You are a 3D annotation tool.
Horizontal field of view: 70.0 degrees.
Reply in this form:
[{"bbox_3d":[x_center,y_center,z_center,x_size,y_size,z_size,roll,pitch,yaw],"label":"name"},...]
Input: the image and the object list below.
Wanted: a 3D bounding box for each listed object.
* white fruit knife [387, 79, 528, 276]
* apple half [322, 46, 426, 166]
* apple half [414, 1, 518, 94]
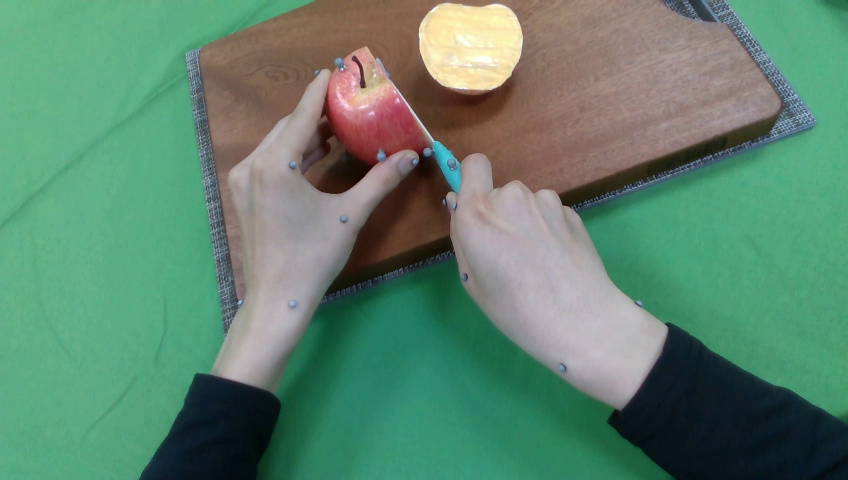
[{"bbox_3d":[0.011,-0.058,0.421,0.016,0.028,0.205,-31,60,-3],"label":"white fruit knife"},{"bbox_3d":[-0.040,-0.085,0.425,0.053,0.075,0.080,-35,66,2],"label":"apple half"},{"bbox_3d":[0.030,-0.139,0.456,0.081,0.033,0.081,0,76,2],"label":"apple half"}]
